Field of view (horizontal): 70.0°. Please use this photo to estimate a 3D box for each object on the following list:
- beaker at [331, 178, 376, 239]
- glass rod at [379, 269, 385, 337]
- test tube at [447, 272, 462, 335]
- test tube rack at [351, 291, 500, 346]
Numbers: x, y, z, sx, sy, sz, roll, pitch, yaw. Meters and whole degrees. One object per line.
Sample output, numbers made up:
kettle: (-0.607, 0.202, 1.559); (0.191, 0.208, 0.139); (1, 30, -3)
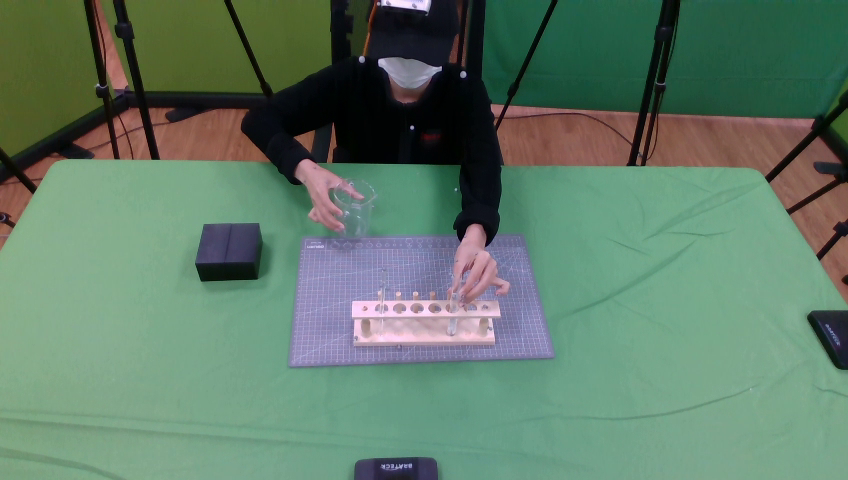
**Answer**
beaker: (-0.137, -0.057, 1.157); (0.084, 0.100, 0.073); (3, 50, -9)
glass rod: (-0.066, 0.104, 0.953); (0.008, 0.200, 0.008); (3, 53, -3)
test tube: (0.048, 0.107, 0.981); (0.017, 0.151, 0.017); (1, 45, -1)
test tube rack: (0.000, 0.129, 1.026); (0.242, 0.085, 0.066); (0, 46, -4)
